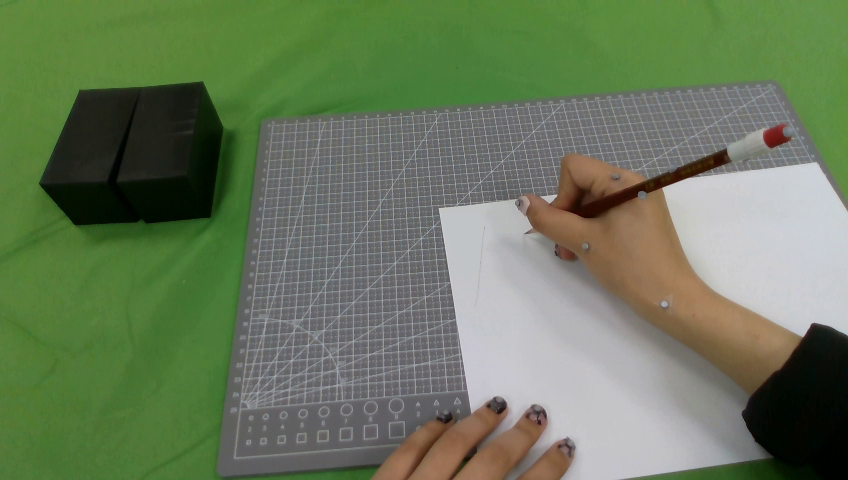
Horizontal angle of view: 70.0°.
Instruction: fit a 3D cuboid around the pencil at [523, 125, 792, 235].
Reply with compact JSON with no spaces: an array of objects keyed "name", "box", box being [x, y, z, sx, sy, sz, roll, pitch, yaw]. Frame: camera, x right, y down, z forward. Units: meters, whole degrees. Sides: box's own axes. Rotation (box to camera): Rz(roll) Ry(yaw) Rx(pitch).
[{"name":"pencil","box":[0.122,-0.027,0.364,0.012,0.193,0.012,9,71,-29]}]
